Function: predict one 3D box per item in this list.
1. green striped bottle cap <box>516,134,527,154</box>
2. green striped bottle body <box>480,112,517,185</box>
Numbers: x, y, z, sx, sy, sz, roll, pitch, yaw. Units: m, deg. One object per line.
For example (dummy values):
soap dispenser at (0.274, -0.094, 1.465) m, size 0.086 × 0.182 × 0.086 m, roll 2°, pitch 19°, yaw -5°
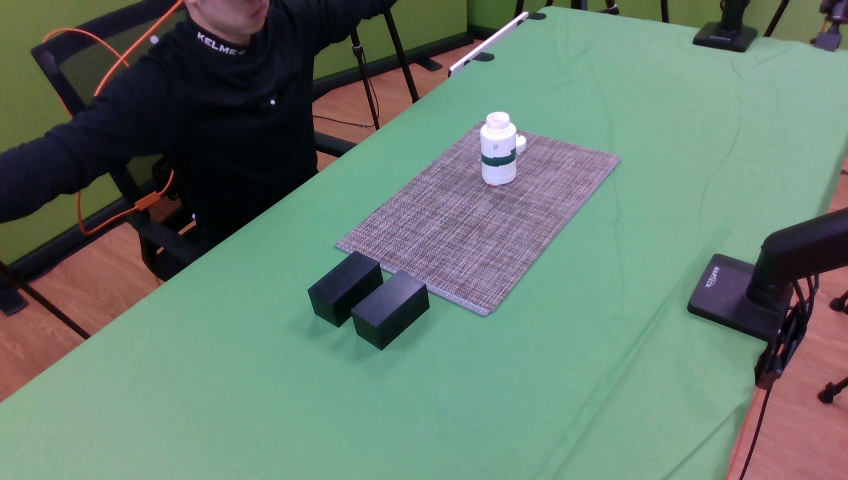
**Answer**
green striped bottle cap at (0.175, -0.183, 1.158) m, size 0.044 × 0.020 × 0.044 m, roll -5°, pitch 43°, yaw 5°
green striped bottle body at (0.130, -0.162, 1.057) m, size 0.063 × 0.120 × 0.063 m, roll -4°, pitch 40°, yaw 4°
